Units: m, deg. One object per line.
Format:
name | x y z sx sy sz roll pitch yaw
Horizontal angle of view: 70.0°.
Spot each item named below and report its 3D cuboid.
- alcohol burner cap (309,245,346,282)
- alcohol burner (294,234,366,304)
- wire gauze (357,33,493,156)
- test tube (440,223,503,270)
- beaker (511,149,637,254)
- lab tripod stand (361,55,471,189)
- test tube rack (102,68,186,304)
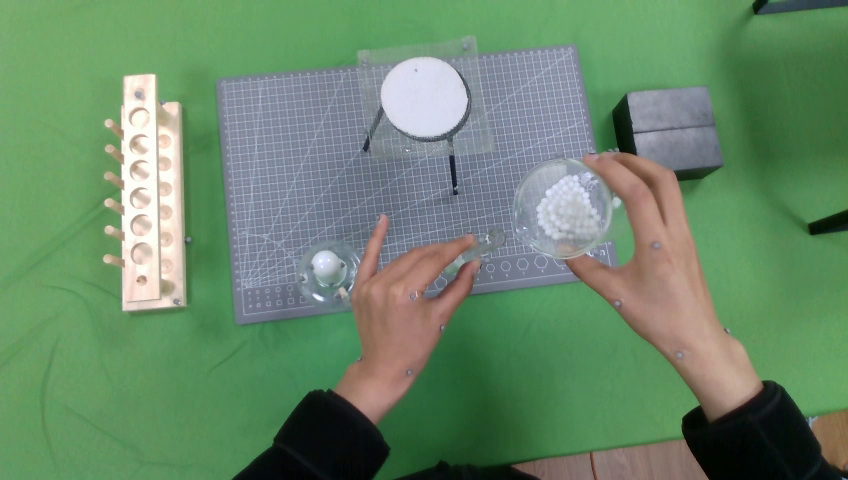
alcohol burner cap | -0.099 0.023 0.609 0.034 0.048 0.033 -1 74 2
alcohol burner | -0.101 0.029 0.644 0.078 0.119 0.077 1 78 -5
wire gauze | 0.000 -0.145 0.604 0.125 0.011 0.121 -6 80 -5
test tube | 0.039 0.009 0.547 0.017 0.150 0.017 3 78 -13
beaker | 0.121 -0.031 0.480 0.084 0.100 0.074 -31 81 32
lab tripod stand | 0.000 -0.137 0.671 0.148 0.132 0.147 1 78 -2
test tube rack | -0.311 -0.055 0.664 0.067 0.085 0.241 -4 80 -4
